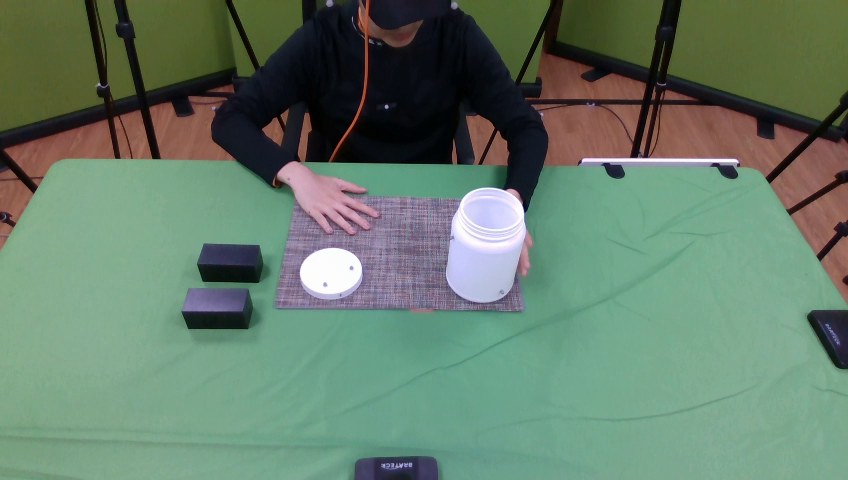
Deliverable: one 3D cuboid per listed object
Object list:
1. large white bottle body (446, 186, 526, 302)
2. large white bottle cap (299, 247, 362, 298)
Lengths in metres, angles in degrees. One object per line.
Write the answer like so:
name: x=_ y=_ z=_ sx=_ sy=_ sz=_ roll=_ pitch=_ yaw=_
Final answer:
large white bottle body: x=0.110 y=0.007 z=1.079 sx=0.131 sy=0.185 sz=0.130 roll=2 pitch=47 yaw=-2
large white bottle cap: x=-0.174 y=0.059 z=1.124 sx=0.115 sy=0.018 sz=0.114 roll=2 pitch=46 yaw=-2
